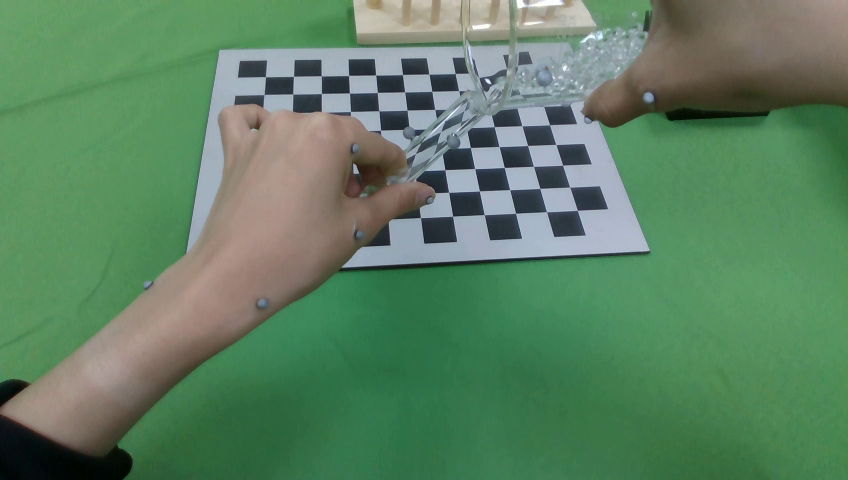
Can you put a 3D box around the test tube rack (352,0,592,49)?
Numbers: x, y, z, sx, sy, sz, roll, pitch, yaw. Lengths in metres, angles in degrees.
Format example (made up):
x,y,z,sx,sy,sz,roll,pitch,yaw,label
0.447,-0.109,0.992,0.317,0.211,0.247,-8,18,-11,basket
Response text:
x,y,z,sx,sy,sz,roll,pitch,yaw,label
0.050,-0.249,0.600,0.243,0.086,0.066,-4,53,-7,test tube rack

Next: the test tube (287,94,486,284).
x,y,z,sx,sy,sz,roll,pitch,yaw,label
-0.026,-0.023,0.325,0.017,0.150,0.017,39,26,-23,test tube

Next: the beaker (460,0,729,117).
x,y,z,sx,sy,sz,roll,pitch,yaw,label
0.073,-0.096,0.273,0.100,0.084,0.073,-8,56,-10,beaker
